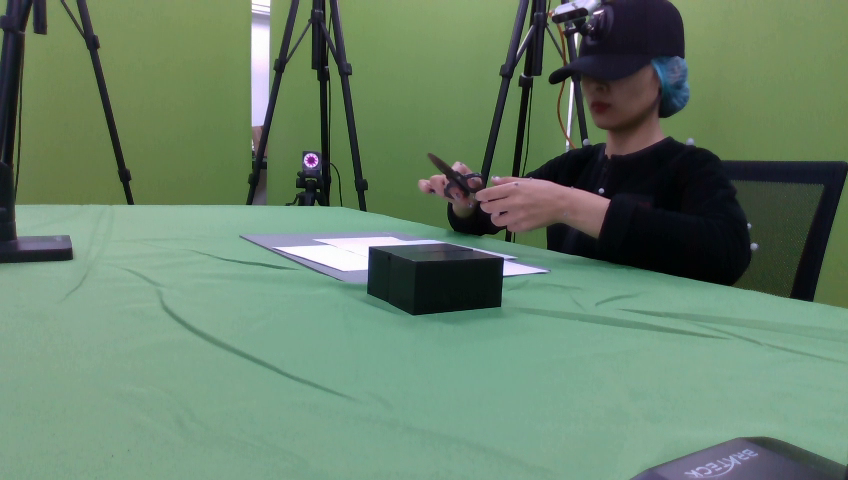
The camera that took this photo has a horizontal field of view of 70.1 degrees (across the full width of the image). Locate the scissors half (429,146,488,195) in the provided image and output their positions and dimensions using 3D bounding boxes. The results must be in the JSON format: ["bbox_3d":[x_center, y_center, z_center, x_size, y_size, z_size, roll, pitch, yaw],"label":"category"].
[{"bbox_3d":[0.056,-0.113,0.972,0.040,0.013,0.176,-35,-33,21],"label":"scissors half"}]

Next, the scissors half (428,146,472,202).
[{"bbox_3d":[0.039,-0.105,0.977,0.040,0.012,0.176,-21,-30,10],"label":"scissors half"}]
